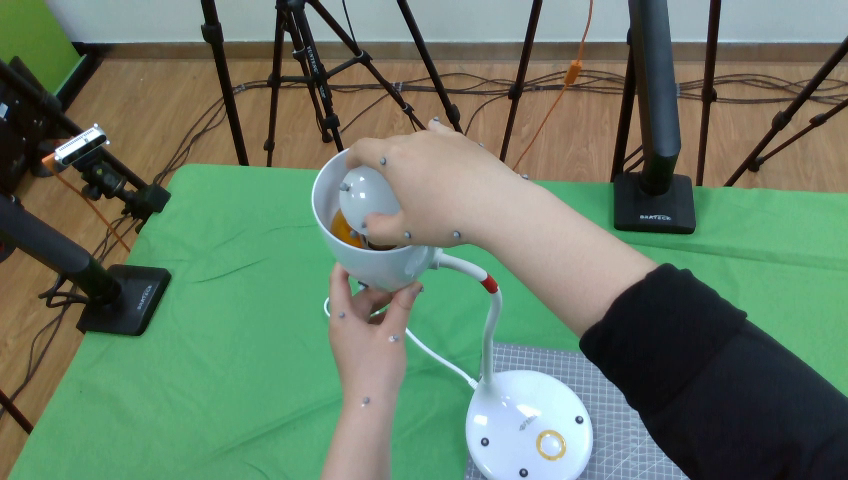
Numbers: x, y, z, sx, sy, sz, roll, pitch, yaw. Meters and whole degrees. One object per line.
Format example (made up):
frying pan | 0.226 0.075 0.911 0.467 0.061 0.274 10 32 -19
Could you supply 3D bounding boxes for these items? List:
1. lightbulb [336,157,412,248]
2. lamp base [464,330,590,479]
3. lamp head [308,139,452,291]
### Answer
lightbulb | -0.038 -0.023 0.496 0.059 0.108 0.059 -1 60 2
lamp base | 0.111 0.186 0.720 0.177 0.182 0.160 27 61 29
lamp head | -0.031 -0.008 0.524 0.112 0.124 0.111 -3 57 5
